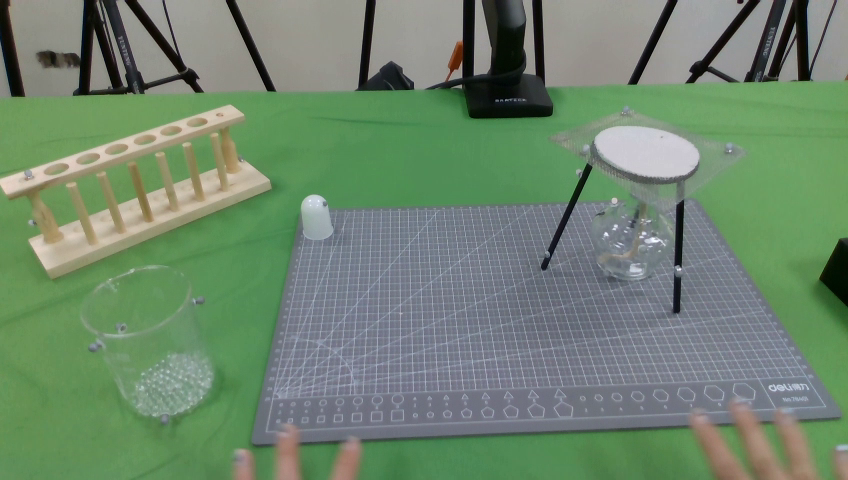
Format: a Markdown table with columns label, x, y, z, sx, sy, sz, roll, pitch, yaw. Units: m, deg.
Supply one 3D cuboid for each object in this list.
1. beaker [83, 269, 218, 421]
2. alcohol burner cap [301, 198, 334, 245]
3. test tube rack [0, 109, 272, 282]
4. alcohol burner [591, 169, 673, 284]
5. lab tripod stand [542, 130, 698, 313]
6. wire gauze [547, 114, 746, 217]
| label | x | y | z | sx | sy | sz | roll | pitch | yaw |
| --- | --- | --- | --- | --- | --- | --- | --- | --- | --- |
| beaker | -0.203 | 0.081 | 0.461 | 0.083 | 0.101 | 0.074 | 26 | 45 | 30 |
| alcohol burner cap | -0.113 | -0.022 | 0.634 | 0.034 | 0.048 | 0.033 | 1 | 39 | 0 |
| test tube rack | -0.292 | -0.055 | 0.646 | 0.242 | 0.086 | 0.066 | -28 | 46 | -31 |
| alcohol burner | 0.199 | -0.017 | 0.568 | 0.078 | 0.120 | 0.077 | 1 | 40 | 0 |
| lab tripod stand | 0.192 | -0.021 | 0.557 | 0.148 | 0.132 | 0.147 | 2 | 38 | -1 |
| wire gauze | 0.187 | -0.073 | 0.514 | 0.121 | 0.011 | 0.124 | -25 | 47 | -30 |
